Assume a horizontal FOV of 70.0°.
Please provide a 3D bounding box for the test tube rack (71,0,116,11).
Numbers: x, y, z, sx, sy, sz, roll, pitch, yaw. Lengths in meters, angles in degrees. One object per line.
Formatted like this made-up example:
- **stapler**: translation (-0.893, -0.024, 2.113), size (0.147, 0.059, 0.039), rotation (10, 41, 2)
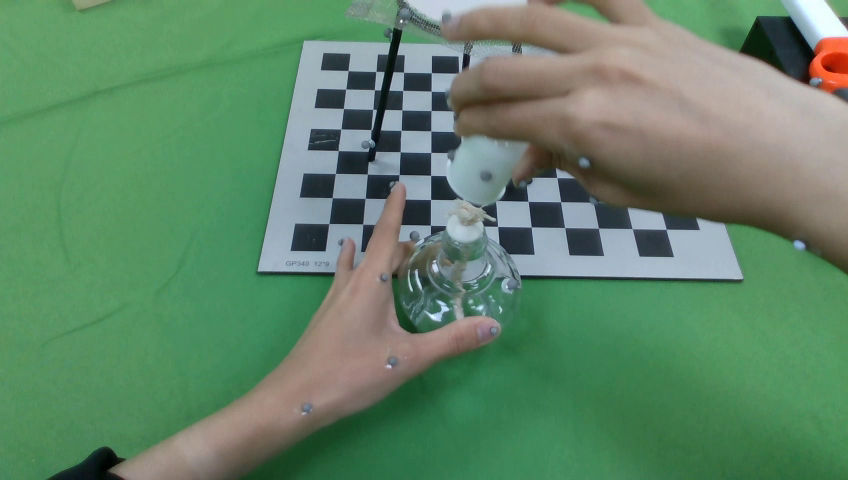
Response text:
- **test tube rack**: translation (-0.257, -0.324, 0.618), size (0.242, 0.086, 0.066), rotation (-28, 60, -20)

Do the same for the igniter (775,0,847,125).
- **igniter**: translation (0.331, -0.149, 0.489), size (0.057, 0.025, 0.274), rotation (-1, 52, 2)

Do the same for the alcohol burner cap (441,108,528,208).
- **alcohol burner cap**: translation (0.030, -0.041, 0.283), size (0.034, 0.048, 0.033), rotation (8, 60, -14)

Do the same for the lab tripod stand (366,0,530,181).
- **lab tripod stand**: translation (0.027, -0.121, 0.447), size (0.148, 0.132, 0.147), rotation (2, 53, -2)

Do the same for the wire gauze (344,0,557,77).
- **wire gauze**: translation (0.026, -0.159, 0.390), size (0.125, 0.011, 0.120), rotation (16, 55, 8)

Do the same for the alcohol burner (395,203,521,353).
- **alcohol burner**: translation (0.021, 0.019, 0.362), size (0.078, 0.120, 0.077), rotation (0, 54, 0)
